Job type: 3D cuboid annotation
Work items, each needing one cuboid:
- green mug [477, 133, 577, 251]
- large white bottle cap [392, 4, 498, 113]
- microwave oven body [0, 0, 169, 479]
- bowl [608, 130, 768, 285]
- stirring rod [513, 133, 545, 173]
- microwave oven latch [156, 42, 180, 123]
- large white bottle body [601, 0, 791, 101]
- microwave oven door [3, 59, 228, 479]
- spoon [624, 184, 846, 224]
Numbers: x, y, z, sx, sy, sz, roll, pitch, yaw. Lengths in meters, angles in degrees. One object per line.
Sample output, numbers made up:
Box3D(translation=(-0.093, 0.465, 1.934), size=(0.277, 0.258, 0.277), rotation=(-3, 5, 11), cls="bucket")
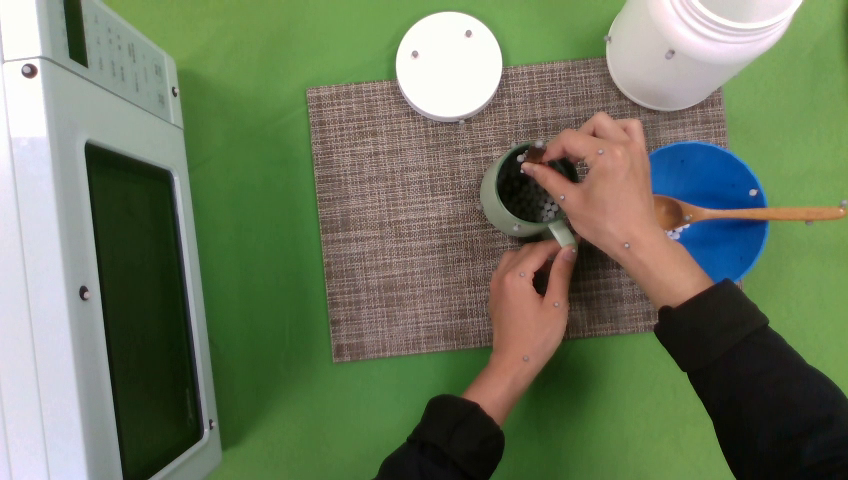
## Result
Box3D(translation=(0.111, -0.044, 0.607), size=(0.092, 0.105, 0.125), rotation=(-34, 89, 0), cls="green mug")
Box3D(translation=(0.023, -0.194, 0.651), size=(0.115, 0.018, 0.114), rotation=(0, 88, 0), cls="large white bottle cap")
Box3D(translation=(-0.402, 0.032, 0.533), size=(0.326, 0.260, 0.441), rotation=(-8, 90, 0), cls="microwave oven body")
Box3D(translation=(0.255, -0.030, 0.619), size=(0.151, 0.077, 0.151), rotation=(0, 90, 1), cls="bowl")
Box3D(translation=(0.096, -0.078, 0.564), size=(0.014, 0.176, 0.006), rotation=(18, 89, 5), cls="stirring rod")
Box3D(translation=(-0.276, -0.161, 0.629), size=(0.030, 0.029, 0.079), rotation=(-8, 90, 0), cls="microwave oven latch")
Box3D(translation=(0.252, -0.219, 0.566), size=(0.130, 0.185, 0.130), rotation=(0, 85, 1), cls="large white bottle body")
Box3D(translation=(-0.251, 0.054, 0.527), size=(0.039, 0.244, 0.355), rotation=(-8, 89, 1), cls="microwave oven door")
Box3D(translation=(0.297, -0.035, 0.590), size=(0.193, 0.022, 0.041), rotation=(1, 93, 24), cls="spoon")
